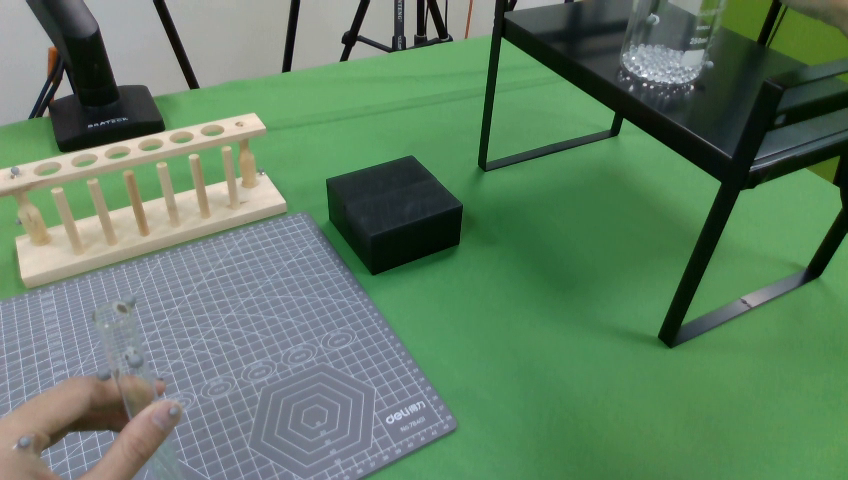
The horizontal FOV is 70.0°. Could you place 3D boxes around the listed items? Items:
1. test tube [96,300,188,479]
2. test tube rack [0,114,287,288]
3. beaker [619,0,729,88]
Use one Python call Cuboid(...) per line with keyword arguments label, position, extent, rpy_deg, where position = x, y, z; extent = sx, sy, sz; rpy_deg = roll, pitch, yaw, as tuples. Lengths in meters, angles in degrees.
Cuboid(label="test tube", position=(-0.135, 0.090, 0.301), extent=(0.017, 0.151, 0.017), rpy_deg=(3, 36, -1))
Cuboid(label="test tube rack", position=(-0.263, -0.044, 0.583), extent=(0.243, 0.086, 0.066), rpy_deg=(-19, 45, -25))
Cuboid(label="beaker", position=(0.201, -0.182, 0.488), extent=(0.084, 0.101, 0.073), rpy_deg=(-20, 46, -24))
